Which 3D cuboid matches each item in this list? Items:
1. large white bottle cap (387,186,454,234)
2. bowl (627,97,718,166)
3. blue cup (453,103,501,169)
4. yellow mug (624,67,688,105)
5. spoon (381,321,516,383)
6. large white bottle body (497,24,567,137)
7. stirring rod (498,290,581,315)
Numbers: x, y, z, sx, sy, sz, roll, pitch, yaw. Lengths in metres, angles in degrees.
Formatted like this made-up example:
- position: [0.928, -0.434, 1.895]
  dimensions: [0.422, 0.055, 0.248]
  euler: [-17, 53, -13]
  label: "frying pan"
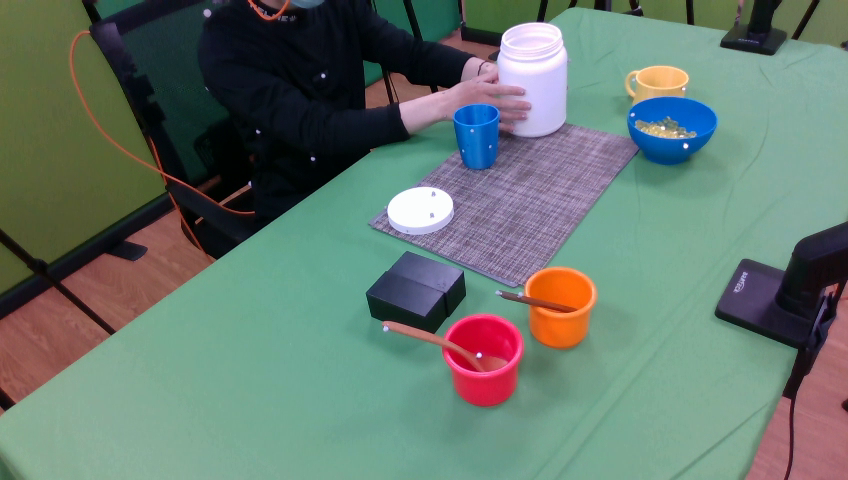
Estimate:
- position: [-0.006, -0.052, 1.036]
  dimensions: [0.115, 0.018, 0.114]
  euler: [-4, 40, 4]
  label: "large white bottle cap"
- position: [0.439, -0.187, 1.087]
  dimensions: [0.151, 0.077, 0.150]
  euler: [-4, 41, 4]
  label: "bowl"
- position: [0.099, -0.188, 1.114]
  dimensions: [0.092, 0.100, 0.092]
  euler: [-4, 39, 4]
  label: "blue cup"
- position: [0.464, -0.305, 1.230]
  dimensions: [0.100, 0.064, 0.129]
  euler: [-34, 46, -27]
  label: "yellow mug"
- position: [0.033, 0.131, 0.725]
  dimensions: [0.195, 0.021, 0.041]
  euler: [29, 30, -26]
  label: "spoon"
- position: [0.210, -0.308, 1.171]
  dimensions: [0.130, 0.185, 0.130]
  euler: [-6, 43, 6]
  label: "large white bottle body"
- position: [0.151, 0.081, 0.772]
  dimensions: [0.178, 0.006, 0.014]
  euler: [16, 19, -44]
  label: "stirring rod"
